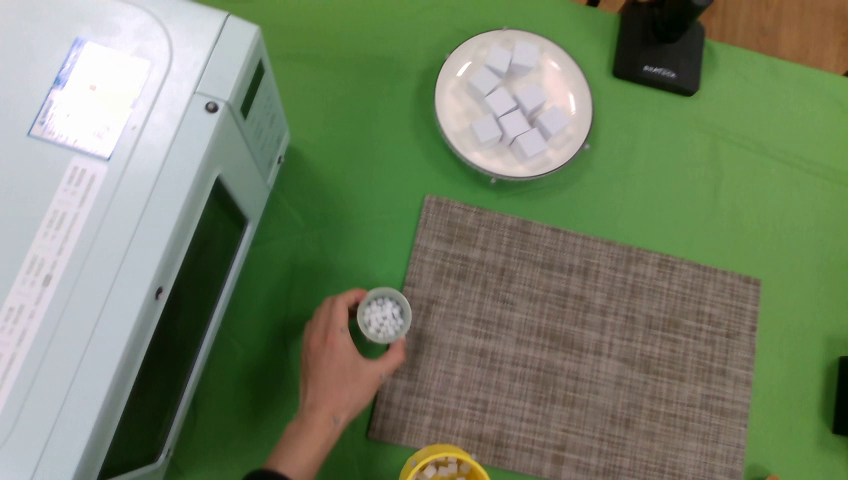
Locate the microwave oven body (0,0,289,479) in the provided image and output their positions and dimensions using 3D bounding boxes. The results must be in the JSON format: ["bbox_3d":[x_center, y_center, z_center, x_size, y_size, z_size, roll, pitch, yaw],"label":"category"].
[{"bbox_3d":[-0.364,-0.015,0.576,0.326,0.261,0.440,18,77,-3],"label":"microwave oven body"}]

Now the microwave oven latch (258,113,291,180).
[{"bbox_3d":[-0.181,-0.114,0.717,0.030,0.029,0.079,18,77,-3],"label":"microwave oven latch"}]

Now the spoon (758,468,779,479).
[{"bbox_3d":[0.452,0.357,0.716,0.041,0.022,0.193,-30,82,-30],"label":"spoon"}]

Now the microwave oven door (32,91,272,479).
[{"bbox_3d":[-0.236,0.067,0.567,0.039,0.244,0.354,17,76,-1],"label":"microwave oven door"}]

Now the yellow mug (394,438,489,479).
[{"bbox_3d":[0.012,0.285,0.657,0.100,0.064,0.130,26,79,-2],"label":"yellow mug"}]

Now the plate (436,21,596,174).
[{"bbox_3d":[0.117,-0.181,0.785,0.208,0.039,0.206,1,78,-6],"label":"plate"}]

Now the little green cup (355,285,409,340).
[{"bbox_3d":[-0.049,0.083,0.687,0.062,0.038,0.061,2,80,-9],"label":"little green cup"}]
